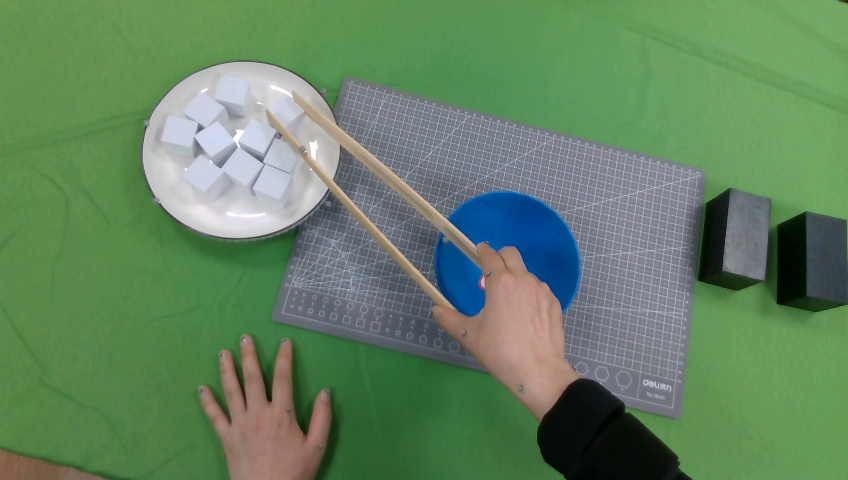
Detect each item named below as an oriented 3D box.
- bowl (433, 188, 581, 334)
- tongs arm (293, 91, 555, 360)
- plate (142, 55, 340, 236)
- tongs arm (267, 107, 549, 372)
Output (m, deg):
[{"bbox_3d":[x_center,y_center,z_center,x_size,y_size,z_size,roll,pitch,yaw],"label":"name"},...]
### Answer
[{"bbox_3d":[0.079,0.029,0.636,0.152,0.077,0.150,2,74,-7],"label":"bowl"},{"bbox_3d":[-0.013,-0.030,0.594,0.028,0.028,0.384,-37,67,-23],"label":"tongs arm"},{"bbox_3d":[-0.195,-0.101,0.662,0.208,0.039,0.206,2,74,-5],"label":"plate"},{"bbox_3d":[-0.030,-0.016,0.586,0.051,0.027,0.381,-34,67,-19],"label":"tongs arm"}]
